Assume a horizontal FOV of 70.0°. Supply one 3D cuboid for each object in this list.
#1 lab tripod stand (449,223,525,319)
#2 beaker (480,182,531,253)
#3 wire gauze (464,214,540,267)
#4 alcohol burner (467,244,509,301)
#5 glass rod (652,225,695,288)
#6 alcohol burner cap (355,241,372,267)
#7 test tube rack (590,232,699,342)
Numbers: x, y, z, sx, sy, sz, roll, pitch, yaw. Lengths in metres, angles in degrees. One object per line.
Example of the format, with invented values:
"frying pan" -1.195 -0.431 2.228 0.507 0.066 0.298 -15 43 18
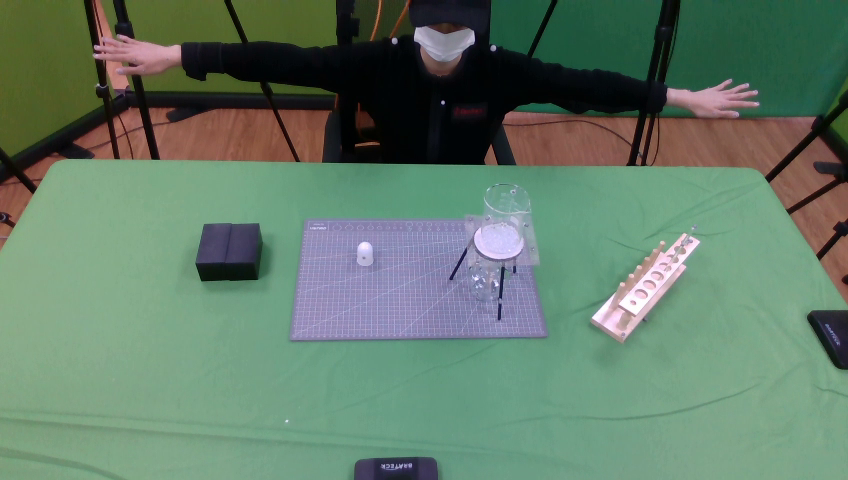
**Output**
"lab tripod stand" 0.120 0.046 1.080 0.148 0.132 0.147 1 47 -1
"beaker" 0.133 -0.033 0.998 0.083 0.101 0.074 26 51 22
"wire gauze" 0.131 -0.001 1.035 0.121 0.011 0.124 1 44 -2
"alcohol burner" 0.116 0.053 1.087 0.078 0.120 0.077 1 44 -1
"glass rod" 0.432 0.037 1.057 0.008 0.200 0.008 1 54 -1
"alcohol burner cap" -0.114 0.024 1.147 0.034 0.048 0.033 2 45 -2
"test tube rack" 0.407 0.074 1.112 0.066 0.085 0.242 35 53 26
